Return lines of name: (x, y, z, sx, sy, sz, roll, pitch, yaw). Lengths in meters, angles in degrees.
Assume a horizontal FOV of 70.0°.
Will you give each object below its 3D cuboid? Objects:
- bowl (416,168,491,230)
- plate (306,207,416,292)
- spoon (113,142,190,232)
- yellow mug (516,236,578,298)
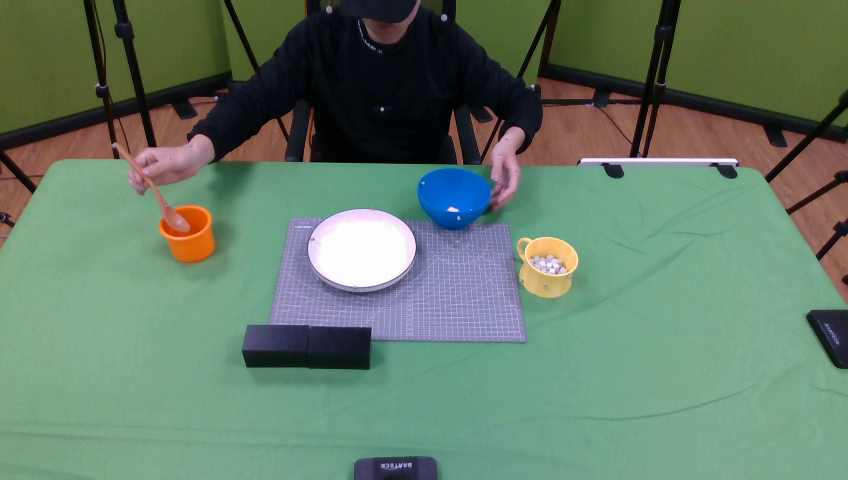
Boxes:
bowl: (0.057, -0.073, 1.231, 0.151, 0.077, 0.150, 3, 41, -2)
plate: (-0.119, 0.021, 1.153, 0.209, 0.038, 0.208, 2, 46, -2)
spoon: (-0.485, -0.093, 1.081, 0.021, 0.194, 0.041, -21, 24, 16)
yellow mug: (0.223, 0.041, 1.145, 0.100, 0.064, 0.130, -30, 55, -29)
